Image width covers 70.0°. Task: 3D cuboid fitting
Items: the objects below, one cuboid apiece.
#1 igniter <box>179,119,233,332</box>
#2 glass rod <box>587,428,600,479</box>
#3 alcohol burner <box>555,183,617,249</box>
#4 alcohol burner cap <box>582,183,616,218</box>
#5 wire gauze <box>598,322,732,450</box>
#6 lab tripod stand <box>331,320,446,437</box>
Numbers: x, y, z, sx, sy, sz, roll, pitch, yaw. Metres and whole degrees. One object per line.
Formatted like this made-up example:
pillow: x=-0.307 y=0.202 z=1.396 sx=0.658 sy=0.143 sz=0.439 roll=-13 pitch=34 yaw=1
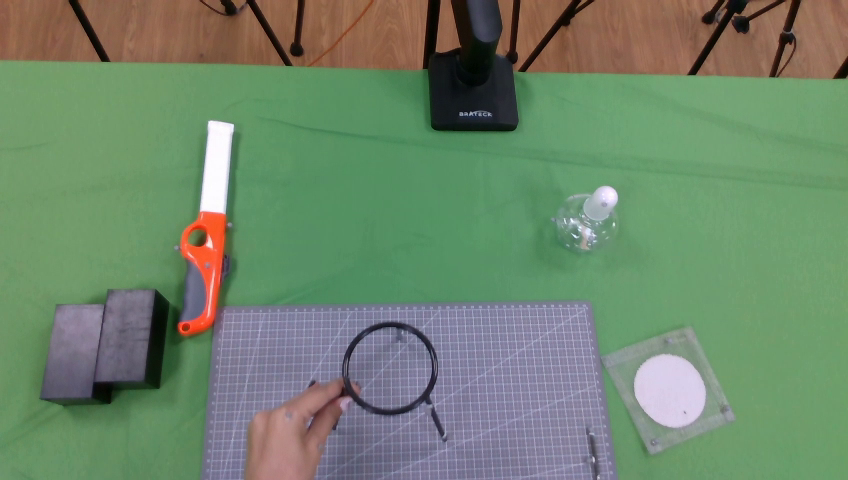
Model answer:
igniter: x=-0.260 y=-0.024 z=0.732 sx=0.057 sy=0.025 sz=0.274 roll=7 pitch=67 yaw=-20
glass rod: x=0.193 y=0.305 z=0.654 sx=0.008 sy=0.008 sz=0.198 roll=-1 pitch=68 yaw=-6
alcohol burner: x=0.202 y=-0.035 z=0.737 sx=0.078 sy=0.120 sz=0.077 roll=2 pitch=66 yaw=-4
alcohol burner cap: x=0.206 y=-0.048 z=0.704 sx=0.034 sy=0.048 sz=0.033 roll=1 pitch=72 yaw=-2
wire gauze: x=0.288 y=0.171 z=0.721 sx=0.125 sy=0.011 sz=0.120 roll=-18 pitch=71 yaw=-10
lab tripod stand: x=-0.035 y=0.142 z=0.622 sx=0.148 sy=0.132 sz=0.147 roll=0 pitch=61 yaw=0
